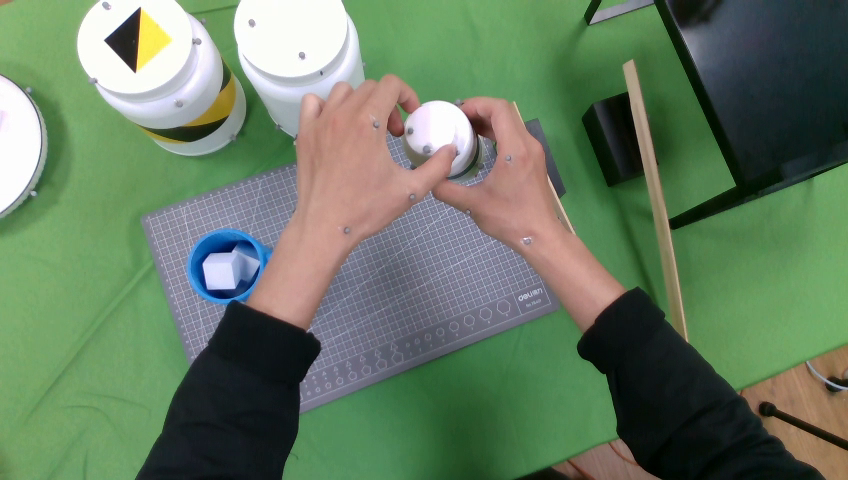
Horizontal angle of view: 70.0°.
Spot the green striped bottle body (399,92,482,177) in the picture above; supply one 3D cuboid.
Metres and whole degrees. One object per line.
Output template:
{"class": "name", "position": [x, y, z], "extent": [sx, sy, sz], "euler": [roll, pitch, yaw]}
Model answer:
{"class": "green striped bottle body", "position": [0.016, -0.096, 0.557], "extent": [0.063, 0.119, 0.063], "euler": [0, 88, 12]}

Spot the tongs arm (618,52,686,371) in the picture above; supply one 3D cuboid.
{"class": "tongs arm", "position": [0.275, -0.032, 0.736], "extent": [0.028, 0.027, 0.388], "euler": [-12, 94, -13]}

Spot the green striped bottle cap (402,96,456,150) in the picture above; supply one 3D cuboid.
{"class": "green striped bottle cap", "position": [0.004, -0.098, 0.504], "extent": [0.044, 0.020, 0.044], "euler": [1, 93, 15]}

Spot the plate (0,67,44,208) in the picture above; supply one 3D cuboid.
{"class": "plate", "position": [-0.571, -0.121, 0.747], "extent": [0.208, 0.039, 0.207], "euler": [0, 82, -2]}

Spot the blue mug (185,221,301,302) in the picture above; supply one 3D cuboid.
{"class": "blue mug", "position": [-0.201, 0.024, 0.704], "extent": [0.116, 0.106, 0.082], "euler": [-13, 82, -4]}

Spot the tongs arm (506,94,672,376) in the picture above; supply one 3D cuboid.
{"class": "tongs arm", "position": [0.199, -0.004, 0.727], "extent": [0.051, 0.026, 0.385], "euler": [-25, 95, -8]}

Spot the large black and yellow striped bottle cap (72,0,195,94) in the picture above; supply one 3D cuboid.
{"class": "large black and yellow striped bottle cap", "position": [-0.293, -0.206, 0.612], "extent": [0.115, 0.019, 0.114], "euler": [1, 82, -4]}

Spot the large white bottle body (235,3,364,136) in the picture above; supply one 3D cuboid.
{"class": "large white bottle body", "position": [-0.141, -0.210, 0.703], "extent": [0.131, 0.185, 0.130], "euler": [0, 81, -2]}

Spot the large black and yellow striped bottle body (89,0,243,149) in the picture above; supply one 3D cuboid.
{"class": "large black and yellow striped bottle body", "position": [-0.295, -0.191, 0.694], "extent": [0.131, 0.184, 0.130], "euler": [0, 81, -2]}

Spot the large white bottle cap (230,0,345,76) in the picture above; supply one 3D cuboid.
{"class": "large white bottle cap", "position": [-0.139, -0.225, 0.619], "extent": [0.115, 0.018, 0.114], "euler": [0, 81, -3]}
